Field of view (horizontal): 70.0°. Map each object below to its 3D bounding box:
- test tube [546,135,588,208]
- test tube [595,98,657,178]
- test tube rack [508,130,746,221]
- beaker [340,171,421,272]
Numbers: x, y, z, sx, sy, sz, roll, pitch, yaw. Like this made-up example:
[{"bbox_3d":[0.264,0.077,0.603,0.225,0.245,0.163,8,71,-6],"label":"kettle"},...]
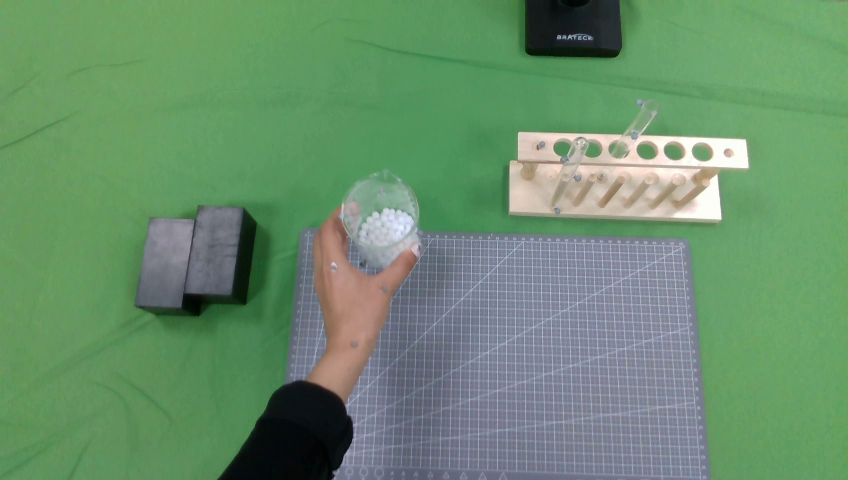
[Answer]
[{"bbox_3d":[0.148,-0.069,0.636,0.017,0.151,0.017,0,70,1],"label":"test tube"},{"bbox_3d":[0.210,-0.103,0.641,0.017,0.151,0.017,1,70,-2],"label":"test tube"},{"bbox_3d":[0.221,-0.071,0.682,0.242,0.085,0.066,2,73,1],"label":"test tube rack"},{"bbox_3d":[-0.039,-0.014,0.611,0.074,0.101,0.083,5,74,3],"label":"beaker"}]
